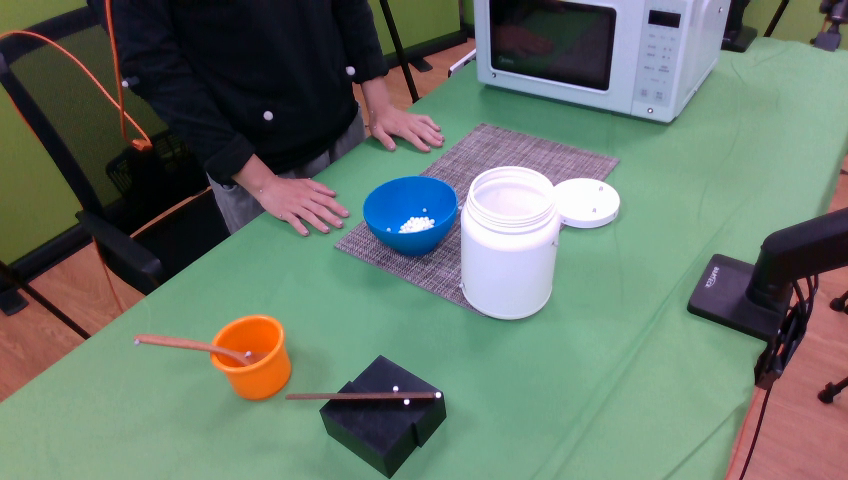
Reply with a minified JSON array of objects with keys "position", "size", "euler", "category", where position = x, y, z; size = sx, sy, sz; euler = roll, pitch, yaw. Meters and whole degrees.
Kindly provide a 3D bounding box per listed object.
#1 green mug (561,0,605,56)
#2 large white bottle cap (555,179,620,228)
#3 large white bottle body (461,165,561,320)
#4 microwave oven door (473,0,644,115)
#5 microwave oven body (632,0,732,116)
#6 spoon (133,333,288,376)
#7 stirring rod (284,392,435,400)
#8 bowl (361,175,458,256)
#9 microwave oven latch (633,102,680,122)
[{"position":[0.336,-0.450,1.293],"size":[0.092,0.105,0.125],"euler":[8,49,23],"category":"green mug"},{"position":[0.265,-0.062,1.001],"size":[0.115,0.018,0.114],"euler":[-4,41,4],"category":"large white bottle cap"},{"position":[0.115,0.004,0.815],"size":[0.130,0.185,0.130],"euler":[-2,43,2],"category":"large white bottle body"},{"position":[0.257,-0.396,1.199],"size":[0.353,0.245,0.039],"euler":[21,48,29],"category":"microwave oven door"},{"position":[0.377,-0.462,1.267],"size":[0.438,0.261,0.327],"euler":[21,48,30],"category":"microwave oven body"},{"position":[-0.258,0.137,0.747],"size":[0.021,0.195,0.041],"euler":[-47,40,23],"category":"spoon"},{"position":[-0.075,0.180,0.698],"size":[0.176,0.006,0.014],"euler":[-2,6,6],"category":"stirring rod"},{"position":[-0.018,-0.028,0.955],"size":[0.151,0.077,0.150],"euler":[-4,40,4],"category":"bowl"},{"position":[0.444,-0.249,1.157],"size":[0.078,0.029,0.030],"euler":[22,49,31],"category":"microwave oven latch"}]
